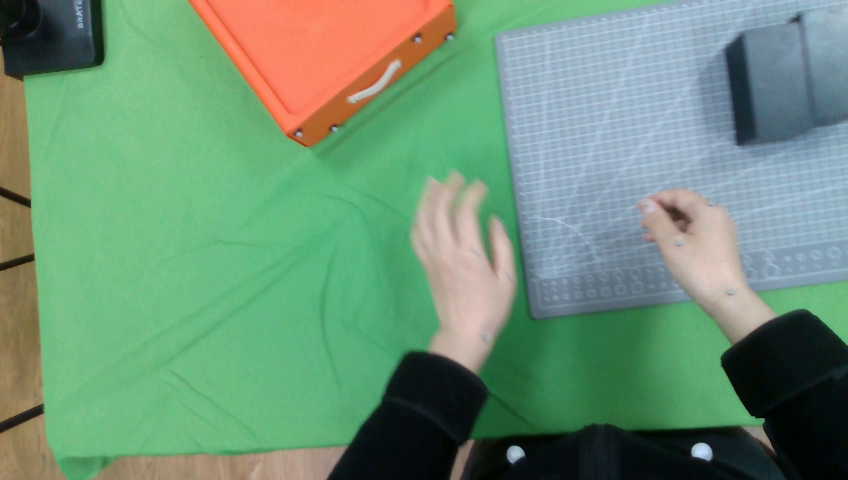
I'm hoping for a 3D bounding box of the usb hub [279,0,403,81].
[{"bbox_3d":[-0.086,-0.224,0.624,0.125,0.025,0.049,-37,88,6],"label":"usb hub"}]

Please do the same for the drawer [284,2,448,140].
[{"bbox_3d":[-0.113,-0.243,0.612,0.194,0.073,0.211,-37,86,5],"label":"drawer"}]

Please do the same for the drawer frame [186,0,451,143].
[{"bbox_3d":[-0.115,-0.244,0.612,0.201,0.083,0.213,-38,85,5],"label":"drawer frame"}]
